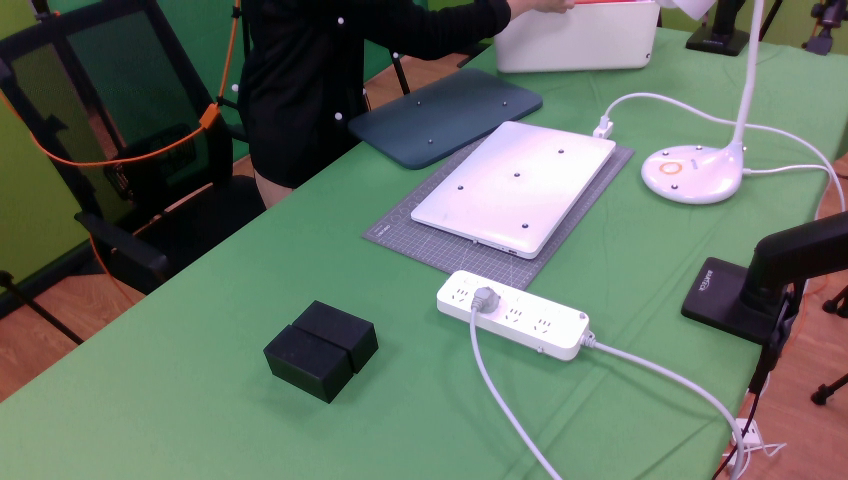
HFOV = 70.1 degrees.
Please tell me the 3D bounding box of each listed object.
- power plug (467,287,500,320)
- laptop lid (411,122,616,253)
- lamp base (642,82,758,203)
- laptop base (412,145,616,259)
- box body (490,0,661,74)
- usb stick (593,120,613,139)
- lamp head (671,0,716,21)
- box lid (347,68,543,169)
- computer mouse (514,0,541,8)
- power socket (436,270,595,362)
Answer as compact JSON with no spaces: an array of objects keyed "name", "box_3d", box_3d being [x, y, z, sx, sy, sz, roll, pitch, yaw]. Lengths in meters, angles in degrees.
[{"name":"power plug","box_3d":[0.073,0.092,0.814,0.035,0.053,0.073,29,54,34]},{"name":"laptop lid","box_3d":[0.165,-0.111,1.067,0.240,0.013,0.357,19,46,31]},{"name":"lamp base","box_3d":[0.464,-0.174,0.992,0.179,0.181,0.159,-5,41,-2]},{"name":"laptop base","box_3d":[0.168,-0.101,1.074,0.234,0.023,0.355,17,46,30]},{"name":"box body","box_3d":[0.346,-0.520,1.429,0.363,0.161,0.253,0,41,9]},{"name":"usb stick","box_3d":[0.336,-0.201,1.147,0.021,0.027,0.059,26,54,26]},{"name":"lamp head","box_3d":[0.375,-0.373,0.807,0.122,0.113,0.112,-40,27,32]},{"name":"box lid","box_3d":[0.047,-0.272,1.299,0.373,0.015,0.261,-30,45,-25]},{"name":"computer mouse","box_3d":[0.248,-0.554,1.425,0.041,0.118,0.062,-35,32,23]},{"name":"power socket","box_3d":[0.118,0.101,0.832,0.225,0.033,0.072,19,48,27]}]
